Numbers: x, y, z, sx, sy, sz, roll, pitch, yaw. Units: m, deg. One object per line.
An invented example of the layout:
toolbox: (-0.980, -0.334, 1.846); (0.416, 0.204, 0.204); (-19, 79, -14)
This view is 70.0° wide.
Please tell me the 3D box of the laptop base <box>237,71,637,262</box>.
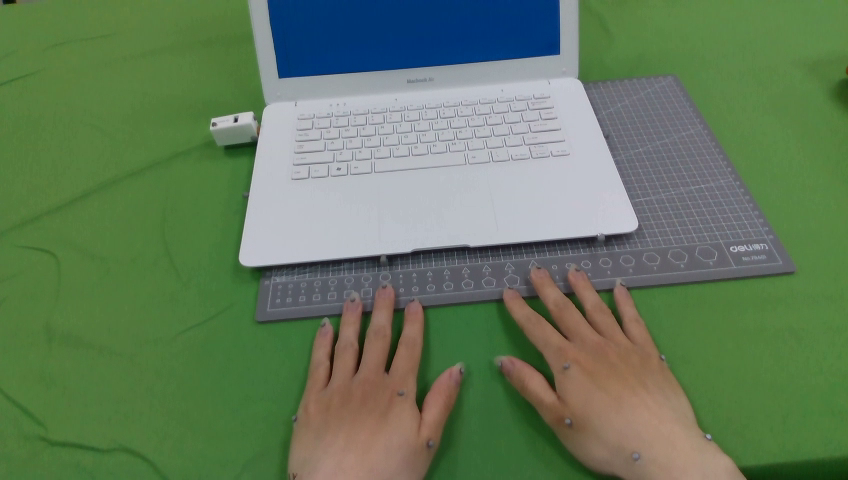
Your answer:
laptop base: (0.005, -0.080, 0.603); (0.354, 0.023, 0.233); (-5, 51, -1)

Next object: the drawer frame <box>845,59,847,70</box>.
drawer frame: (0.576, -0.153, 0.587); (0.202, 0.083, 0.211); (-10, 48, -4)

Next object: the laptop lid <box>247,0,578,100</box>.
laptop lid: (-0.013, -0.276, 0.641); (0.357, 0.243, 0.013); (-7, 19, 0)

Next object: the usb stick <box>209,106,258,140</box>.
usb stick: (-0.193, -0.124, 0.640); (0.059, 0.027, 0.021); (-7, 48, -1)
